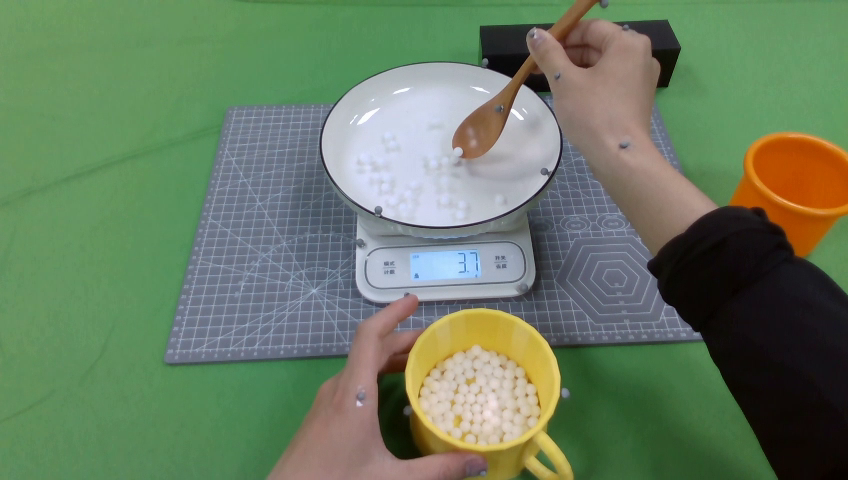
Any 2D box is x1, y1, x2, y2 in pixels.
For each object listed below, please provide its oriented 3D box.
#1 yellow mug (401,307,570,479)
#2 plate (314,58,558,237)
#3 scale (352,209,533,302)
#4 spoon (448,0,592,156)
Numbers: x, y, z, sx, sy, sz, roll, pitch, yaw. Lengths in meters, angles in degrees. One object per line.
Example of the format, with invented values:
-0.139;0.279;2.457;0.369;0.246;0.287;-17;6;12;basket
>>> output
0.047;0.113;0.407;0.100;0.064;0.129;-38;61;-22;yellow mug
0.010;-0.081;0.530;0.209;0.038;0.207;0;53;0;plate
0.012;-0.038;0.539;0.149;0.032;0.199;-3;53;0;scale
0.081;-0.137;0.471;0.022;0.194;0.041;1;53;-40;spoon
